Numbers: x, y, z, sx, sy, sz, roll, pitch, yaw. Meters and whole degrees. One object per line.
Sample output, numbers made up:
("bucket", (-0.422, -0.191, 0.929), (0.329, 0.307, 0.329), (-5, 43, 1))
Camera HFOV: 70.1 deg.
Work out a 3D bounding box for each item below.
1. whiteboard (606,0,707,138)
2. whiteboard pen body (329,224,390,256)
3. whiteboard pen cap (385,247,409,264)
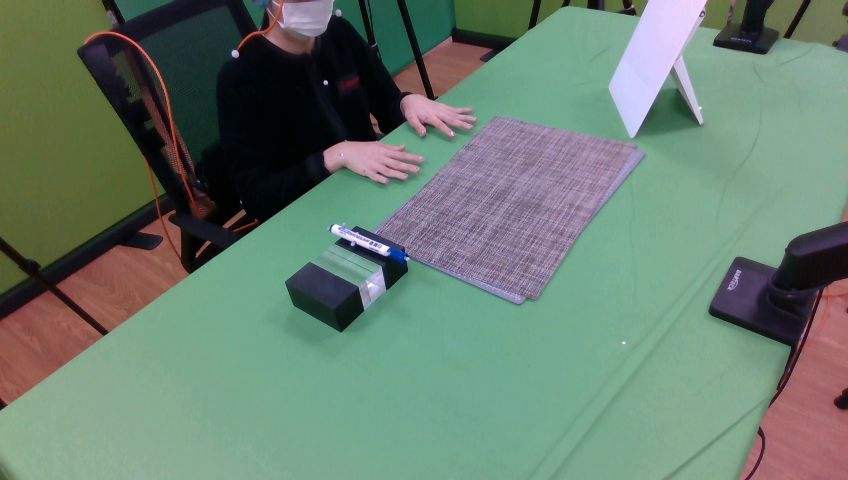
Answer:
("whiteboard", (0.496, -0.358, 1.147), (0.144, 0.305, 0.216), (11, 40, -7))
("whiteboard pen body", (-0.088, 0.003, 0.909), (0.139, 0.017, 0.017), (21, 48, 30))
("whiteboard pen cap", (-0.039, 0.022, 0.878), (0.033, 0.018, 0.018), (24, 49, 29))
